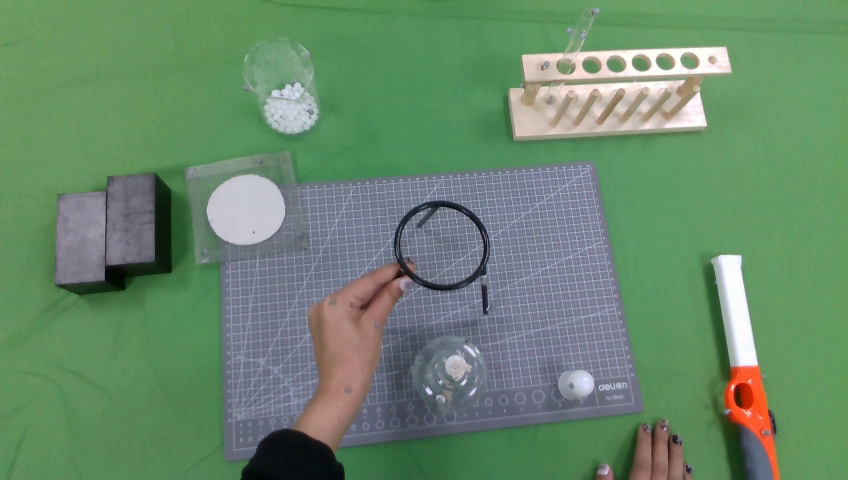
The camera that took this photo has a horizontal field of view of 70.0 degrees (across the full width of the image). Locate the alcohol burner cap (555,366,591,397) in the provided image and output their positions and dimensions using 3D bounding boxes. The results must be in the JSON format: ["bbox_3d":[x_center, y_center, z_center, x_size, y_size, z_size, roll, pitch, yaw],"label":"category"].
[{"bbox_3d":[0.163,0.152,0.652,0.034,0.048,0.033,1,74,-3],"label":"alcohol burner cap"}]

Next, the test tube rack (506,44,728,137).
[{"bbox_3d":[0.228,-0.178,0.727,0.243,0.085,0.066,-4,75,-5],"label":"test tube rack"}]

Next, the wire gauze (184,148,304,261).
[{"bbox_3d":[-0.208,-0.042,0.695,0.125,0.011,0.120,-10,75,-6],"label":"wire gauze"}]

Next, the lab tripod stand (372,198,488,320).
[{"bbox_3d":[0.006,0.021,0.617,0.148,0.132,0.147,2,68,-4],"label":"lab tripod stand"}]

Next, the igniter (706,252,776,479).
[{"bbox_3d":[0.354,0.148,0.678,0.057,0.025,0.275,2,75,-14],"label":"igniter"}]

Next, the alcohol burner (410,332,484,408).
[{"bbox_3d":[0.025,0.129,0.611,0.078,0.119,0.077,1,72,-4],"label":"alcohol burner"}]

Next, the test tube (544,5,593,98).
[{"bbox_3d":[0.158,-0.205,0.678,0.017,0.151,0.017,1,70,-3],"label":"test tube"}]

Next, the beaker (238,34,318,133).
[{"bbox_3d":[-0.159,-0.170,0.690,0.074,0.100,0.083,-35,80,-12],"label":"beaker"}]
